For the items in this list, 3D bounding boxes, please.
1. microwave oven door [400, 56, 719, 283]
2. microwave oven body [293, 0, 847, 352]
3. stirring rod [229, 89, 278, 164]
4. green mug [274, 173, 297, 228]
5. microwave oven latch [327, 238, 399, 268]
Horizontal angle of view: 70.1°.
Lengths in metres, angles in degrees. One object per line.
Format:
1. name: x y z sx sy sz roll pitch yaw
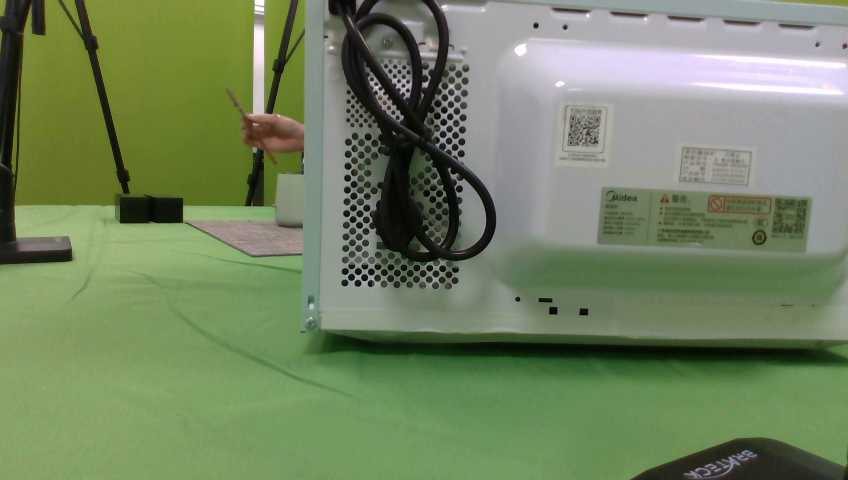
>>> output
1. microwave oven door: 0.155 -0.078 0.697 0.356 0.243 0.039 2 8 -5
2. microwave oven body: 0.122 -0.055 0.550 0.442 0.260 0.325 3 7 -5
3. stirring rod: -0.348 -0.231 1.234 0.006 0.176 0.014 -31 4 8
4. green mug: -0.242 -0.081 1.221 0.092 0.105 0.126 8 9 39
5. microwave oven latch: -0.069 0.015 0.694 0.079 0.029 0.030 3 7 -3
